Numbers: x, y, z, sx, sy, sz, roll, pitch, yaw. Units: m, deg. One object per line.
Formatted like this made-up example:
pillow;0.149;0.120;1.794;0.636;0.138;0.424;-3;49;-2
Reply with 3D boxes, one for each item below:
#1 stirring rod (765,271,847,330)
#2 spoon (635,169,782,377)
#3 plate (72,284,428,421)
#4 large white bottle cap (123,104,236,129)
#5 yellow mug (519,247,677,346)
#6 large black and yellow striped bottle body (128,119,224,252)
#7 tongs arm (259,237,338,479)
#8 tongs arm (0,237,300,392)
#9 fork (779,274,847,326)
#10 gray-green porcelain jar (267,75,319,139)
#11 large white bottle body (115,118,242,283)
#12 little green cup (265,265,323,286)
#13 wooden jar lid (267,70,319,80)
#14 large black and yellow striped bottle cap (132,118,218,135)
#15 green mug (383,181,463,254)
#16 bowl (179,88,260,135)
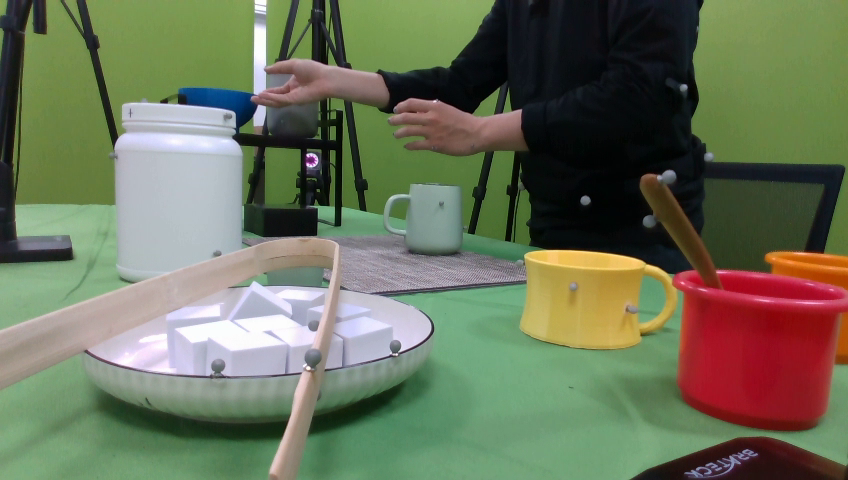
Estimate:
stirring rod;0.352;0.020;0.481;0.176;0.006;0.014;-40;-8;17
spoon;0.161;0.026;0.346;0.021;0.194;0.041;-51;32;-19
plate;-0.102;0.067;0.381;0.208;0.039;0.207;3;7;0
large white bottle cap;-0.266;-0.134;0.663;0.115;0.018;0.115;3;7;0
yellow mug;0.148;0.045;0.513;0.131;0.064;0.100;3;7;0
large black and yellow striped bottle body;-0.361;-0.081;0.887;0.131;0.184;0.130;2;8;0
tongs arm;-0.074;0.040;0.345;0.051;0.026;0.384;-2;9;-3
tongs arm;-0.158;0.038;0.346;0.028;0.028;0.388;-3;8;11
fork;0.332;0.019;0.443;0.028;0.018;0.207;-3;-35;-16
gray-green porcelain jar;-0.277;-0.278;1.280;0.106;0.126;0.106;1;8;0
large white bottle body;-0.270;-0.051;0.673;0.131;0.184;0.130;2;8;0
little green cup;-0.134;0.033;0.628;0.061;0.038;0.061;3;7;0
wooden jar lid;-0.275;-0.339;1.271;0.108;0.020;0.108;5;6;0
large black and yellow striped bottle cap;-0.359;-0.164;0.875;0.115;0.019;0.115;2;6;0
green mug;-0.001;-0.036;0.922;0.126;0.105;0.092;0;8;-16
bowl;-0.400;-0.248;1.188;0.151;0.077;0.151;3;6;0
